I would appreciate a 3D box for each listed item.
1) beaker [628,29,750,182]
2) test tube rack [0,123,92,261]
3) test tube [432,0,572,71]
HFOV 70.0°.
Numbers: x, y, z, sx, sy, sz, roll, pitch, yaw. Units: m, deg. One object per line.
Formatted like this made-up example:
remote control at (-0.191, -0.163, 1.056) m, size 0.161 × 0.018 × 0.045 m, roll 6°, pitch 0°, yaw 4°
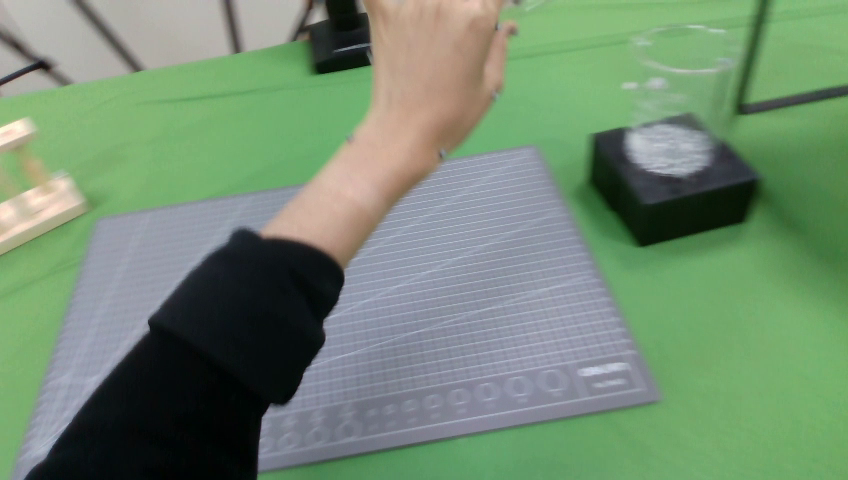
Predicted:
beaker at (0.201, -0.104, 0.480) m, size 0.074 × 0.101 × 0.083 m, roll -30°, pitch 48°, yaw -20°
test tube rack at (-0.456, -0.010, 0.560) m, size 0.242 × 0.086 × 0.066 m, roll -33°, pitch 50°, yaw -23°
test tube at (0.068, -0.146, 0.382) m, size 0.150 × 0.017 × 0.017 m, roll -22°, pitch 38°, yaw 28°
